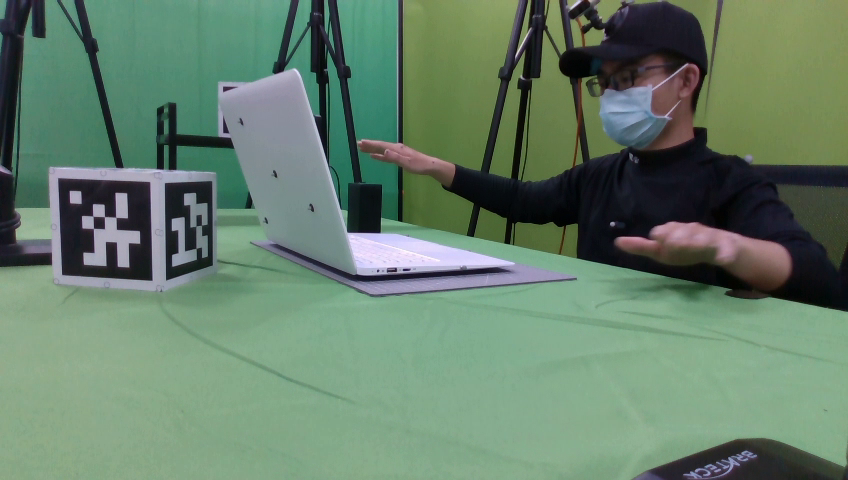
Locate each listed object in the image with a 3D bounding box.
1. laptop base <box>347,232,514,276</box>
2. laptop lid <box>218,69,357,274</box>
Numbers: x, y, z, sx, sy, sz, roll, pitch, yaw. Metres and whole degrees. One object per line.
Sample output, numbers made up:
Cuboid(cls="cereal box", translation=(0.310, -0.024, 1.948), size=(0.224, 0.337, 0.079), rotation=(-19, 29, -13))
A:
Cuboid(cls="laptop base", translation=(-0.066, 0.017, 0.893), size=(0.237, 0.023, 0.352), rotation=(1, 6, -32))
Cuboid(cls="laptop lid", translation=(-0.195, -0.090, 0.798), size=(0.013, 0.242, 0.355), rotation=(-23, 20, -27))
